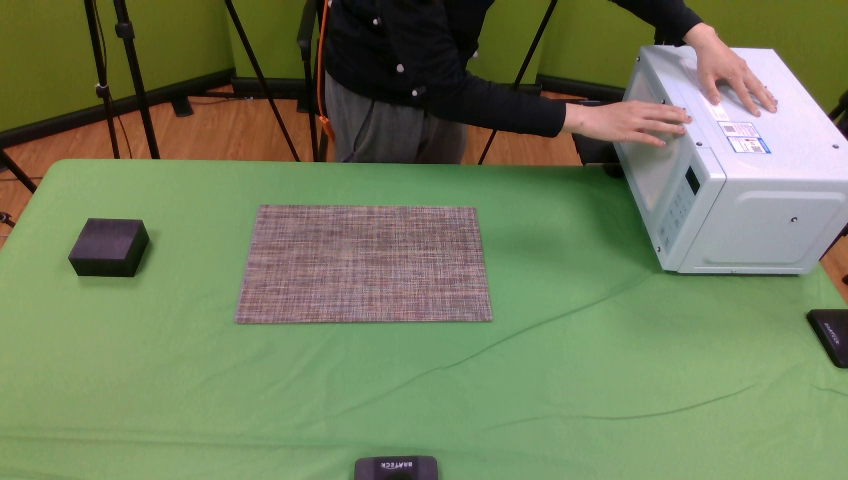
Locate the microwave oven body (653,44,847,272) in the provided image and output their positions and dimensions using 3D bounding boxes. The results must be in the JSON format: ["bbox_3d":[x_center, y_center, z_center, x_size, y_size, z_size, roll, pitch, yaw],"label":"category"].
[{"bbox_3d":[0.620,-0.172,1.234,0.326,0.261,0.439,0,46,-3],"label":"microwave oven body"}]

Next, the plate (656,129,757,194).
[{"bbox_3d":[0.602,-0.165,1.305,0.209,0.038,0.208,2,45,-2],"label":"plate"}]

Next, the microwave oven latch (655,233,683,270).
[{"bbox_3d":[0.473,0.021,1.175,0.030,0.029,0.078,2,46,-1],"label":"microwave oven latch"}]

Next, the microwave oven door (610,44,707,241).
[{"bbox_3d":[0.473,-0.208,1.250,0.039,0.245,0.353,0,47,-3],"label":"microwave oven door"}]
